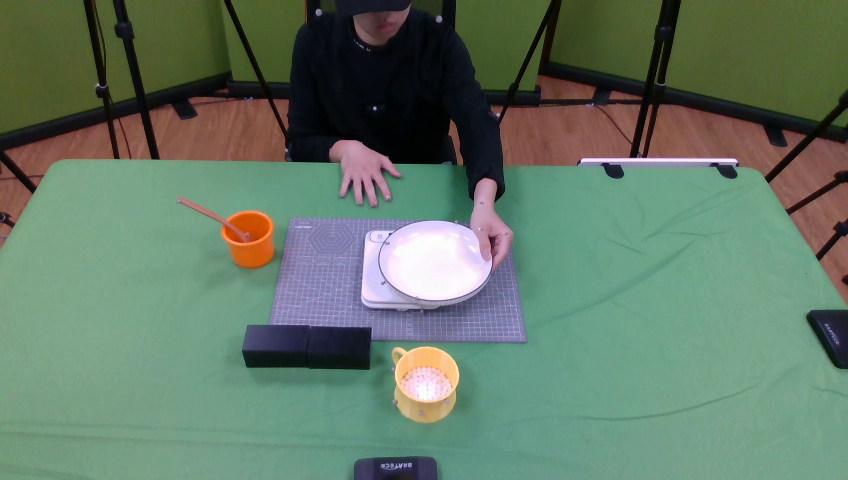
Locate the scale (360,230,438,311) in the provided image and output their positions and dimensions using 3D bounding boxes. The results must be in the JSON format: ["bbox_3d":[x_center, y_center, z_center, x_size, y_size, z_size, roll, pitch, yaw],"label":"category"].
[{"bbox_3d":[-0.042,0.048,1.138,0.149,0.032,0.199,2,46,-3],"label":"scale"}]

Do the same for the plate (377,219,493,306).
[{"bbox_3d":[0.020,0.043,1.095,0.209,0.038,0.208,1,43,-1],"label":"plate"}]

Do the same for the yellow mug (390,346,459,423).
[{"bbox_3d":[-0.009,0.217,0.958,0.100,0.064,0.130,-33,56,-31],"label":"yellow mug"}]

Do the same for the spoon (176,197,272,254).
[{"bbox_3d":[-0.362,-0.027,1.108,0.021,0.195,0.041,-35,36,24],"label":"spoon"}]
